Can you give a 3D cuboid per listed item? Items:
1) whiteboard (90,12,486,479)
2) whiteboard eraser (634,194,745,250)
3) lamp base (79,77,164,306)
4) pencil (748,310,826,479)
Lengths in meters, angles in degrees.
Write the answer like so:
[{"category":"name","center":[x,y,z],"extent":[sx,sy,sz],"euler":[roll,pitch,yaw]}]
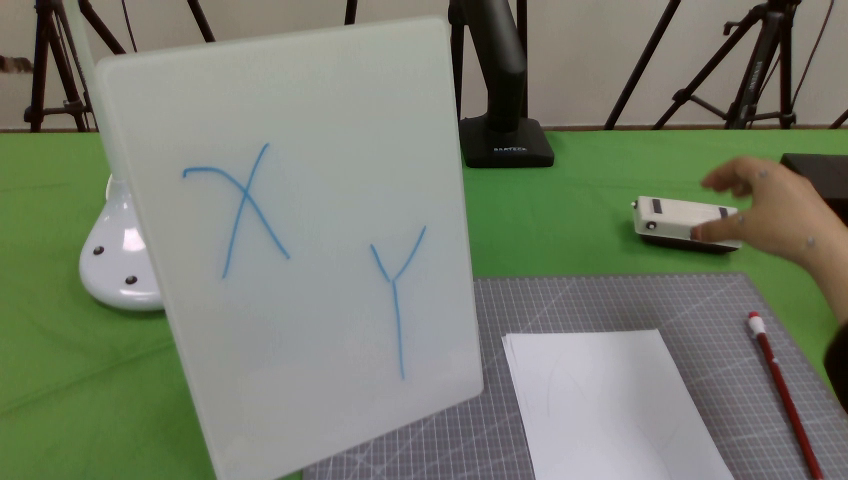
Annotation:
[{"category":"whiteboard","center":[-0.090,-0.002,0.473],"extent":[0.218,0.307,0.142],"euler":[-16,23,-20]},{"category":"whiteboard eraser","center":[0.297,-0.019,0.684],"extent":[0.112,0.042,0.055],"euler":[9,41,7]},{"category":"lamp base","center":[-0.273,-0.055,0.580],"extent":[0.178,0.182,0.160],"euler":[25,44,29]},{"category":"pencil","center":[0.309,0.131,0.518],"extent":[0.012,0.012,0.192],"euler":[6,40,4]}]
